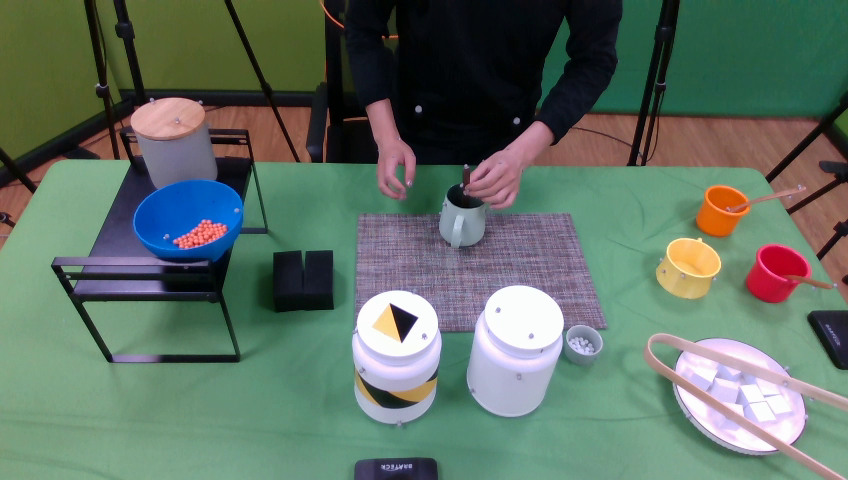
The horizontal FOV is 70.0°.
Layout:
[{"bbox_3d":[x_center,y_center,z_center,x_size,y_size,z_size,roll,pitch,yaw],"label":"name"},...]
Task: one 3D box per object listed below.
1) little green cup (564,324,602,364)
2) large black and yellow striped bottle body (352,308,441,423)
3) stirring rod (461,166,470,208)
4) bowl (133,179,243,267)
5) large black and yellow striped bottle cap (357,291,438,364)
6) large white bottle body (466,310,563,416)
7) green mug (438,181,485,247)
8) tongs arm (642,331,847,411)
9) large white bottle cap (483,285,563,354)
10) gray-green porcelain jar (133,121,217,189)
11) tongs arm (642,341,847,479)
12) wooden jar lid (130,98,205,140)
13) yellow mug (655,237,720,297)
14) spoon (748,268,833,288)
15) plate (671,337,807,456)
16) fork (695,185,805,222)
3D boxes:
[{"bbox_3d":[0.269,0.179,1.035,0.061,0.039,0.061,2,45,-2],"label":"little green cup"},{"bbox_3d":[-0.042,0.177,0.913,0.131,0.185,0.130,2,47,-2],"label":"large black and yellow striped bottle body"},{"bbox_3d":[0.076,-0.085,1.132,0.014,0.177,0.006,-15,62,-6],"label":"stirring rod"},{"bbox_3d":[-0.339,-0.013,0.895,0.151,0.077,0.150,2,46,-2],"label":"bowl"},{"bbox_3d":[-0.037,0.121,0.851,0.115,0.019,0.114,1,46,-1],"label":"large black and yellow striped bottle cap"},{"bbox_3d":[0.138,0.171,0.932,0.131,0.185,0.130,2,46,-2],"label":"large white bottle body"},{"bbox_3d":[0.071,-0.039,1.178,0.092,0.105,0.124,12,47,7],"label":"green mug"},{"bbox_3d":[0.546,0.227,0.968,0.384,0.026,0.050,22,52,13],"label":"tongs arm"},{"bbox_3d":[0.142,0.112,0.871,0.115,0.018,0.114,3,46,-2],"label":"large white bottle cap"},{"bbox_3d":[-0.397,-0.141,0.980,0.106,0.127,0.105,2,47,-2],"label":"gray-green porcelain jar"},{"bbox_3d":[0.504,0.278,0.918,0.386,0.028,0.028,34,59,22],"label":"tongs arm"},{"bbox_3d":[-0.393,-0.183,0.934,0.108,0.021,0.107,3,44,-2],"label":"wooden jar lid"},{"bbox_3d":[0.509,0.041,1.167,0.099,0.064,0.130,24,48,18],"label":"yellow mug"},{"bbox_3d":[0.660,0.068,1.097,0.041,0.193,0.021,-4,91,-6],"label":"spoon"},{"bbox_3d":[0.504,0.254,0.984,0.208,0.039,0.206,2,46,-2],"label":"plate"},{"bbox_3d":[0.657,-0.074,1.230,0.207,0.019,0.028,-23,34,37],"label":"fork"}]
